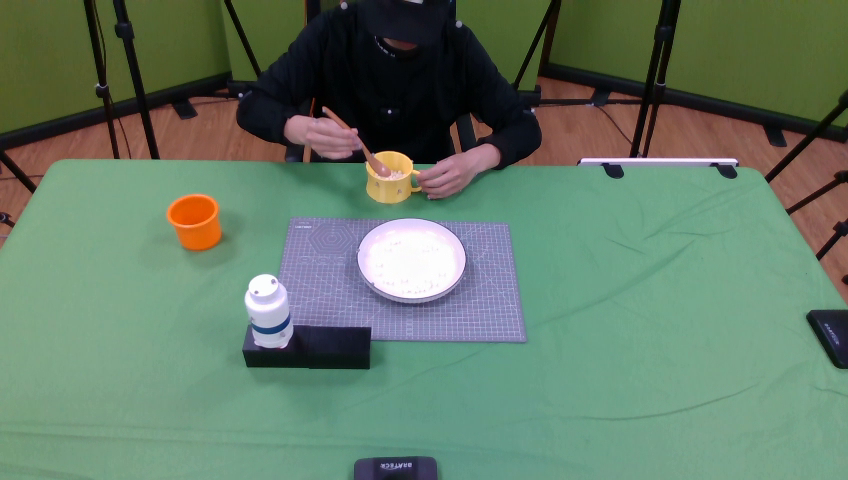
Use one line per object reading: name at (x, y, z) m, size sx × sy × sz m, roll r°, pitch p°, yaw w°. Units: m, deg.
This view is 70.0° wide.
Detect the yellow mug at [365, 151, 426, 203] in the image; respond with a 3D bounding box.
yellow mug at (-0.061, -0.133, 1.291) m, size 0.131 × 0.064 × 0.099 m, roll 8°, pitch 46°, yaw 3°

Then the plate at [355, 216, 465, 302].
plate at (-0.027, 0.039, 1.144) m, size 0.208 × 0.039 × 0.206 m, roll 2°, pitch 46°, yaw -2°

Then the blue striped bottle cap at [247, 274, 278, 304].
blue striped bottle cap at (-0.239, 0.072, 0.900) m, size 0.044 × 0.021 × 0.044 m, roll 4°, pitch 46°, yaw -4°

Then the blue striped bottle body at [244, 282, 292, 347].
blue striped bottle body at (-0.241, 0.108, 0.937) m, size 0.063 × 0.121 × 0.062 m, roll 2°, pitch 46°, yaw -2°

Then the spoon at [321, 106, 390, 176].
spoon at (-0.129, -0.189, 1.160) m, size 0.021 × 0.195 × 0.041 m, roll -24°, pitch 39°, yaw 22°
